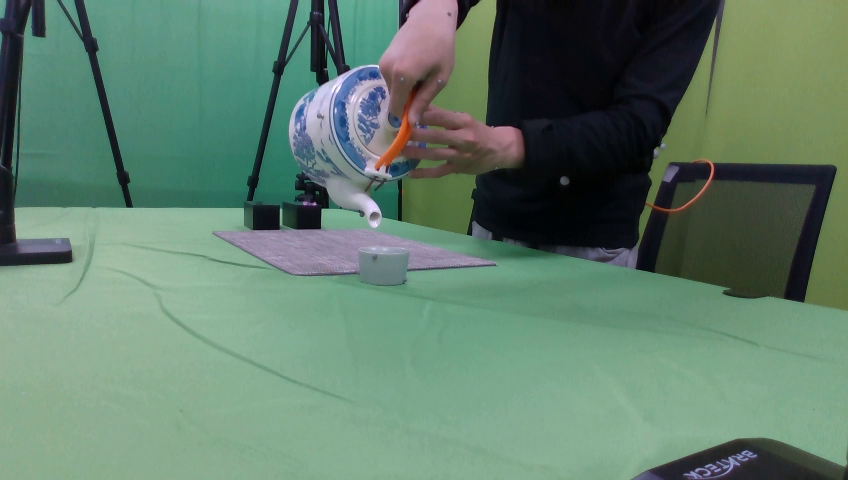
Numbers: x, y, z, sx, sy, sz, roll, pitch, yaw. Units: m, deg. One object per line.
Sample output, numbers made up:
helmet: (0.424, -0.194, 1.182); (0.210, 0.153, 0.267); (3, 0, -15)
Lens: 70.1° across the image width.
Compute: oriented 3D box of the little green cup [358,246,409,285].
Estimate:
little green cup: (-0.048, 0.030, 0.707); (0.061, 0.038, 0.061); (2, 8, 0)

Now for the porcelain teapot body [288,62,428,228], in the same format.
porcelain teapot body: (-0.070, -0.114, 0.762); (0.146, 0.205, 0.224); (9, -7, -35)

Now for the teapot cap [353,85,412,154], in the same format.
teapot cap: (-0.047, -0.146, 0.731); (0.085, 0.085, 0.043); (-3, 4, -36)
